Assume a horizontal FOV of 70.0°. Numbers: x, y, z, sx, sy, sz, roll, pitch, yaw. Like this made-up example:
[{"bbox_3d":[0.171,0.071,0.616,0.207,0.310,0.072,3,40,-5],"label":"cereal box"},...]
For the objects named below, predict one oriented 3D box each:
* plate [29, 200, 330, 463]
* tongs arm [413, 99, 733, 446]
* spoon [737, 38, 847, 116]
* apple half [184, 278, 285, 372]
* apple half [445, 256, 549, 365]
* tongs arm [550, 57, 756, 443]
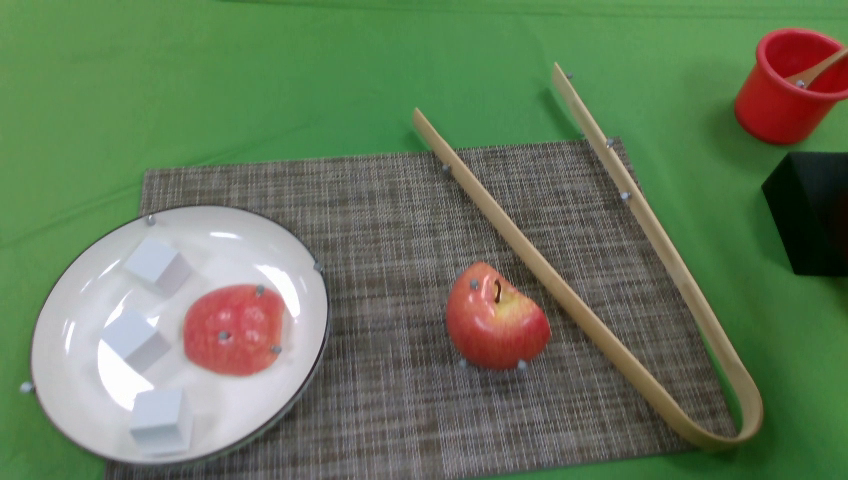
[{"bbox_3d":[-0.173,0.063,0.452,0.209,0.038,0.207,2,57,-2],"label":"plate"},{"bbox_3d":[0.099,0.009,0.507,0.028,0.028,0.384,-26,63,-23],"label":"tongs arm"},{"bbox_3d":[0.396,-0.180,0.577,0.194,0.022,0.041,-35,51,28],"label":"spoon"},{"bbox_3d":[-0.143,0.057,0.452,0.081,0.033,0.080,3,58,-5],"label":"apple half"},{"bbox_3d":[0.045,0.060,0.445,0.053,0.075,0.080,-41,71,-20],"label":"apple half"},{"bbox_3d":[0.175,-0.019,0.527,0.051,0.027,0.381,-15,61,-13],"label":"tongs arm"}]
